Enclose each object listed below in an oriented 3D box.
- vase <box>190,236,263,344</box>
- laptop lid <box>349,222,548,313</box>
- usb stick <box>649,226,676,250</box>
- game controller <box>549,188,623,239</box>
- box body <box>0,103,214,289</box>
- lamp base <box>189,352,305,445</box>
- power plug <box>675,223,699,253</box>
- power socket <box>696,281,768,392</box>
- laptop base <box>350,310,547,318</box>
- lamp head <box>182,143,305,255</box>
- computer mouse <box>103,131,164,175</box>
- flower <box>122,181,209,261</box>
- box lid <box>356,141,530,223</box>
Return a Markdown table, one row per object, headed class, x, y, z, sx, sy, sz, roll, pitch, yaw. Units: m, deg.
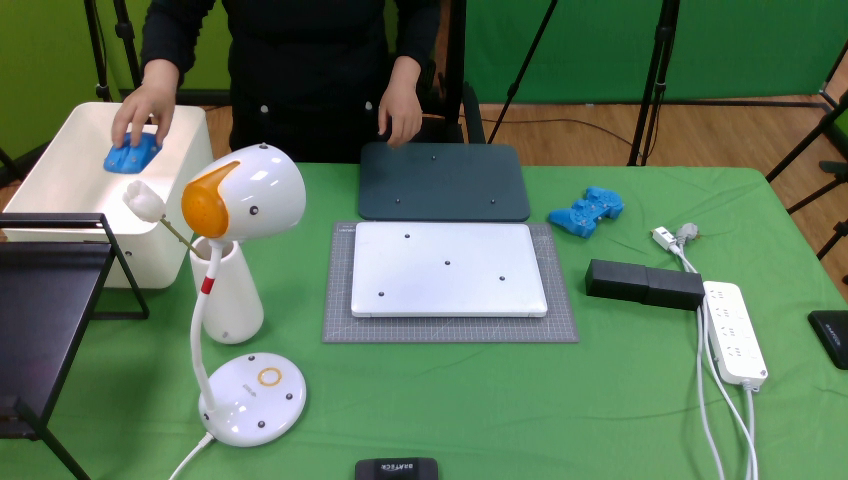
| class | x | y | z | sx | sy | sz | roll | pitch | yaw |
| --- | --- | --- | --- | --- | --- | --- | --- | --- | --- |
| vase | -0.317 | 0.081 | 0.971 | 0.098 | 0.201 | 0.097 | 3 | 47 | -3 |
| laptop lid | 0.042 | 0.046 | 1.142 | 0.357 | 0.013 | 0.240 | 2 | 44 | -3 |
| usb stick | 0.485 | -0.008 | 1.237 | 0.021 | 0.027 | 0.059 | -22 | 44 | -13 |
| game controller | 0.345 | -0.065 | 1.272 | 0.155 | 0.052 | 0.096 | -31 | 58 | -28 |
| box body | -0.563 | -0.087 | 1.140 | 0.254 | 0.161 | 0.361 | 2 | 46 | -3 |
| lamp base | -0.268 | 0.196 | 0.876 | 0.160 | 0.181 | 0.179 | 25 | 52 | 20 |
| power plug | 0.537 | 0.000 | 1.243 | 0.053 | 0.035 | 0.072 | 19 | 82 | -17 |
| power socket | 0.543 | 0.161 | 1.077 | 0.072 | 0.033 | 0.225 | 5 | 46 | 2 |
| laptop base | 0.041 | 0.056 | 1.149 | 0.355 | 0.023 | 0.234 | 0 | 42 | -4 |
| lamp head | -0.216 | -0.044 | 0.697 | 0.112 | 0.113 | 0.123 | 23 | 31 | 17 |
| computer mouse | -0.489 | -0.150 | 1.022 | 0.063 | 0.041 | 0.116 | 7 | 37 | -2 |
| flower | -0.329 | 0.029 | 0.905 | 0.038 | 0.364 | 0.044 | -21 | 58 | -1 |
| box lid | 0.040 | -0.132 | 1.339 | 0.372 | 0.015 | 0.261 | 0 | 46 | -4 |
